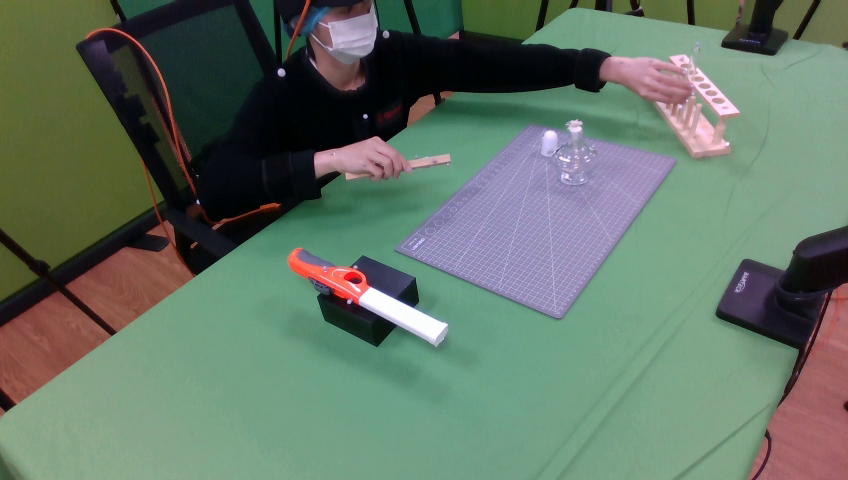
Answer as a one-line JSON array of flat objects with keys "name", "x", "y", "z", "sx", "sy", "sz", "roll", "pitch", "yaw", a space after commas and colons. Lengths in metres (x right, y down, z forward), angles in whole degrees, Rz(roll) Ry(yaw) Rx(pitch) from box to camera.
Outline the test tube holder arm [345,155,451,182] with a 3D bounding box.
[{"name": "test tube holder arm", "x": -0.043, "y": -0.120, "z": 1.014, "sx": 0.179, "sy": 0.013, "sz": 0.015, "roll": -10, "pitch": 80, "yaw": -3}]

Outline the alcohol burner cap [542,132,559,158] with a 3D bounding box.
[{"name": "alcohol burner cap", "x": 0.238, "y": -0.180, "z": 1.134, "sx": 0.034, "sy": 0.048, "sz": 0.033, "roll": -5, "pitch": 41, "yaw": 5}]

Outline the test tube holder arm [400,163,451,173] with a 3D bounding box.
[{"name": "test tube holder arm", "x": 0.001, "y": -0.127, "z": 1.022, "sx": 0.088, "sy": 0.010, "sz": 0.015, "roll": -10, "pitch": 80, "yaw": -4}]

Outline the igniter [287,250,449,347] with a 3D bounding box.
[{"name": "igniter", "x": -0.087, "y": 0.073, "z": 0.825, "sx": 0.274, "sy": 0.025, "sz": 0.057, "roll": 23, "pitch": 48, "yaw": 27}]

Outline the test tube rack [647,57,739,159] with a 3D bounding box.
[{"name": "test tube rack", "x": 0.504, "y": -0.257, "z": 1.153, "sx": 0.067, "sy": 0.085, "sz": 0.241, "roll": -8, "pitch": 40, "yaw": 1}]

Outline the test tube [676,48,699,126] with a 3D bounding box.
[{"name": "test tube", "x": 0.484, "y": -0.280, "z": 1.112, "sx": 0.017, "sy": 0.151, "sz": 0.017, "roll": -3, "pitch": 39, "yaw": 3}]

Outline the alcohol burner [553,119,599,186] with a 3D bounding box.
[{"name": "alcohol burner", "x": 0.261, "y": -0.153, "z": 1.042, "sx": 0.078, "sy": 0.119, "sz": 0.077, "roll": -6, "pitch": 40, "yaw": 6}]
